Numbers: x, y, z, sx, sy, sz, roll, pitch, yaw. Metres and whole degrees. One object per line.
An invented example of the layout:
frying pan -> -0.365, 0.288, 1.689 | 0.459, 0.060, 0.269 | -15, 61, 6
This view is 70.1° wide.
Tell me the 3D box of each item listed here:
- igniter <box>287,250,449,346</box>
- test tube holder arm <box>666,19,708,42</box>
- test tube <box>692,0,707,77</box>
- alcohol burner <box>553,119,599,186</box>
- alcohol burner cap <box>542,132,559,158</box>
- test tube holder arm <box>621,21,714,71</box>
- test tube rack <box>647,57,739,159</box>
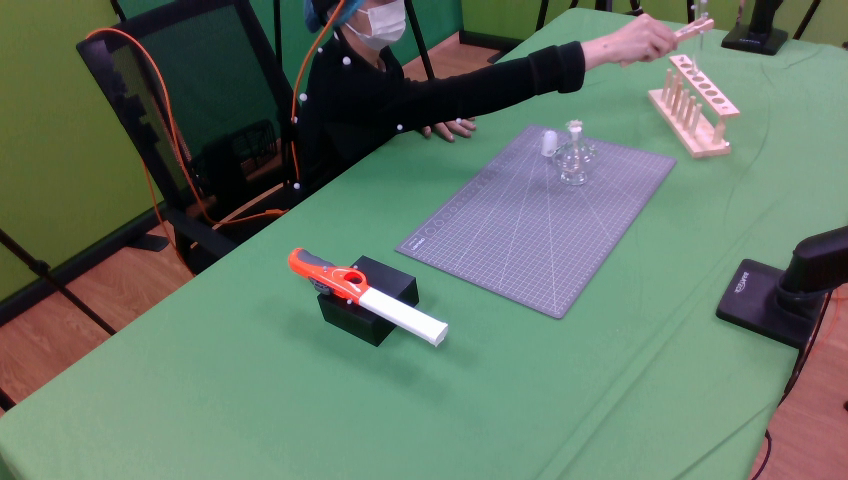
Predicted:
igniter -> -0.087, 0.073, 0.825 | 0.274, 0.025, 0.057 | 23, 48, 28
test tube holder arm -> 0.451, -0.354, 1.038 | 0.088, 0.015, 0.010 | -31, 42, -12
test tube -> 0.478, -0.350, 1.051 | 0.017, 0.151, 0.017 | -10, 45, 11
alcohol burner -> 0.261, -0.153, 1.042 | 0.078, 0.119, 0.077 | -6, 40, 6
alcohol burner cap -> 0.237, -0.180, 1.134 | 0.034, 0.048, 0.033 | -5, 41, 5
test tube holder arm -> 0.414, -0.330, 1.027 | 0.179, 0.015, 0.013 | -26, 40, -7
test tube rack -> 0.504, -0.257, 1.153 | 0.067, 0.085, 0.241 | -7, 40, 1
